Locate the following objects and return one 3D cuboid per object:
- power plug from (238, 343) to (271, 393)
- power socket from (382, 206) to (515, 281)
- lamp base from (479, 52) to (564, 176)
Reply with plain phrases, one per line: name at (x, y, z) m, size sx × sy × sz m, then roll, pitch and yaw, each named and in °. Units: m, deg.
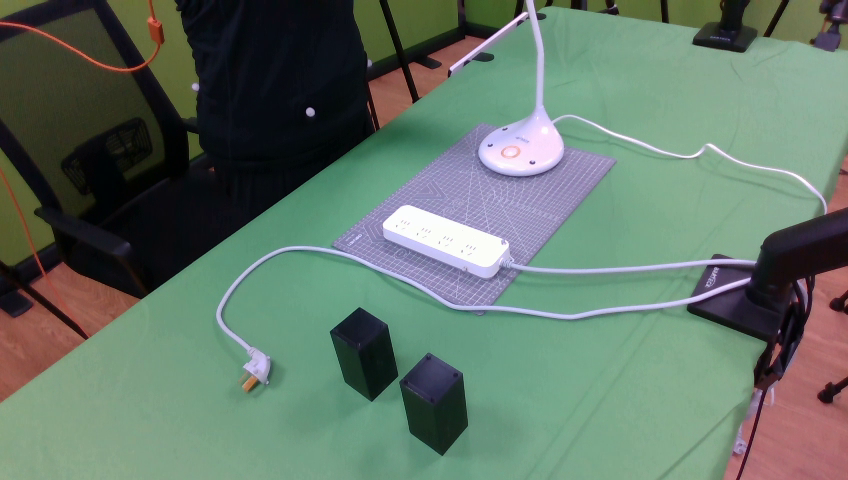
power plug at (-0.230, 0.172, 0.801) m, size 0.072 × 0.035 × 0.053 m, roll 8°, pitch 50°, yaw 50°
power socket at (0.032, 0.002, 0.950) m, size 0.225 × 0.033 × 0.072 m, roll 21°, pitch 49°, yaw 29°
lamp base at (0.181, -0.235, 1.094) m, size 0.159 × 0.181 × 0.179 m, roll 18°, pitch 44°, yaw 27°
